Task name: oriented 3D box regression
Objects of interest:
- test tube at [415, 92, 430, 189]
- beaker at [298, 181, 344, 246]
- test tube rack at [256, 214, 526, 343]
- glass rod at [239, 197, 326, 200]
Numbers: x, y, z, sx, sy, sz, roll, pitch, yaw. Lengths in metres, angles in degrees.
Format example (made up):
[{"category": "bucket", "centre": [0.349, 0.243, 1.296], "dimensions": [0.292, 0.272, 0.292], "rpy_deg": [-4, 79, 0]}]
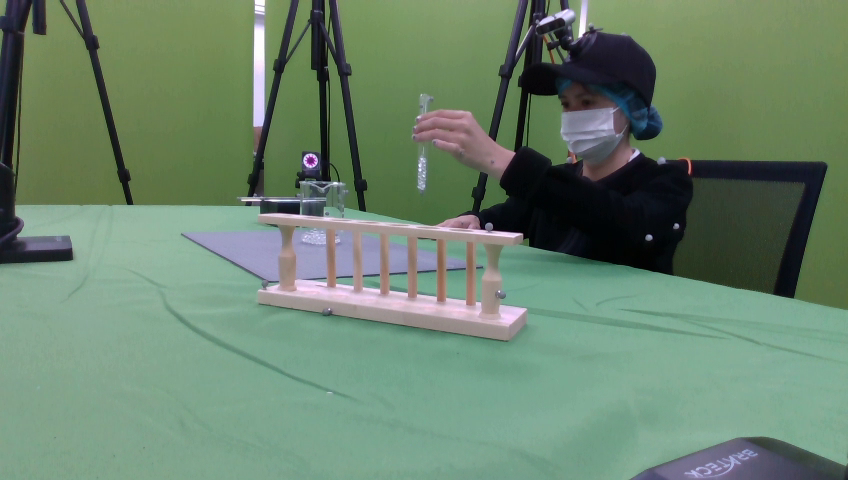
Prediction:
[{"category": "test tube", "centre": [-0.003, -0.153, 0.931], "dimensions": [0.017, 0.150, 0.017], "rpy_deg": [4, -3, 1]}, {"category": "beaker", "centre": [-0.166, -0.043, 0.972], "dimensions": [0.074, 0.100, 0.084], "rpy_deg": [1, 8, -10]}, {"category": "test tube rack", "centre": [-0.032, 0.027, 0.547], "dimensions": [0.241, 0.085, 0.067], "rpy_deg": [6, 7, 22]}, {"category": "glass rod", "centre": [-0.288, -0.087, 1.250], "dimensions": [0.201, 0.008, 0.008], "rpy_deg": [-4, 10, -42]}]
